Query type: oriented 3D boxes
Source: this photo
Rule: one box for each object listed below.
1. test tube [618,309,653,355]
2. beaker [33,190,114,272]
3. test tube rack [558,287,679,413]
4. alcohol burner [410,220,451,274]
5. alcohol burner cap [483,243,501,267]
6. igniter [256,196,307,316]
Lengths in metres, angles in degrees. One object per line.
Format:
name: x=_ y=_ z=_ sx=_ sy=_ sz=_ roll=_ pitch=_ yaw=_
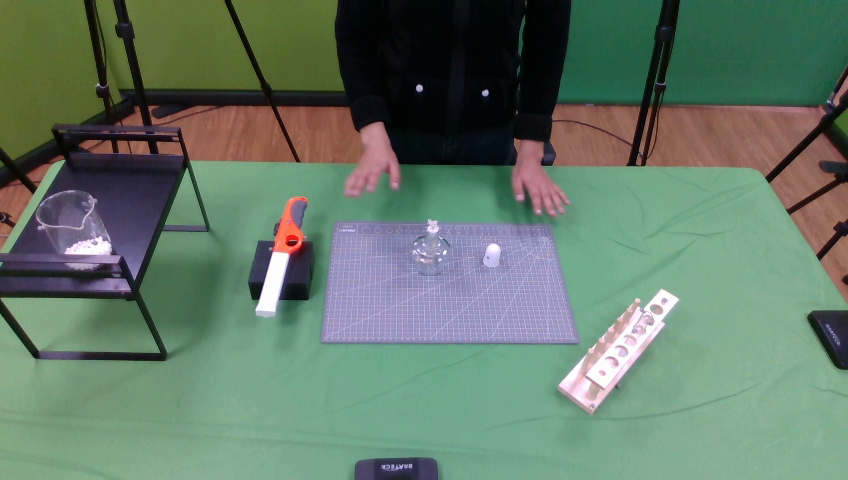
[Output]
test tube: x=0.329 y=0.155 z=0.956 sx=0.017 sy=0.151 sz=0.017 roll=2 pitch=51 yaw=-2
beaker: x=-0.493 y=-0.009 z=0.865 sx=0.083 sy=0.101 sz=0.074 roll=37 pitch=55 yaw=27
test tube rack: x=0.326 y=0.170 z=1.009 sx=0.066 sy=0.085 sz=0.242 roll=36 pitch=54 yaw=27
alcohol burner: x=0.013 y=0.007 z=1.120 sx=0.078 sy=0.120 sz=0.077 roll=1 pitch=48 yaw=-1
alcohol burner cap: x=0.132 y=0.025 z=1.161 sx=0.034 sy=0.048 sz=0.033 roll=3 pitch=46 yaw=-3
igniter: x=-0.254 y=0.019 z=1.090 sx=0.057 sy=0.025 sz=0.275 roll=7 pitch=48 yaw=-3
